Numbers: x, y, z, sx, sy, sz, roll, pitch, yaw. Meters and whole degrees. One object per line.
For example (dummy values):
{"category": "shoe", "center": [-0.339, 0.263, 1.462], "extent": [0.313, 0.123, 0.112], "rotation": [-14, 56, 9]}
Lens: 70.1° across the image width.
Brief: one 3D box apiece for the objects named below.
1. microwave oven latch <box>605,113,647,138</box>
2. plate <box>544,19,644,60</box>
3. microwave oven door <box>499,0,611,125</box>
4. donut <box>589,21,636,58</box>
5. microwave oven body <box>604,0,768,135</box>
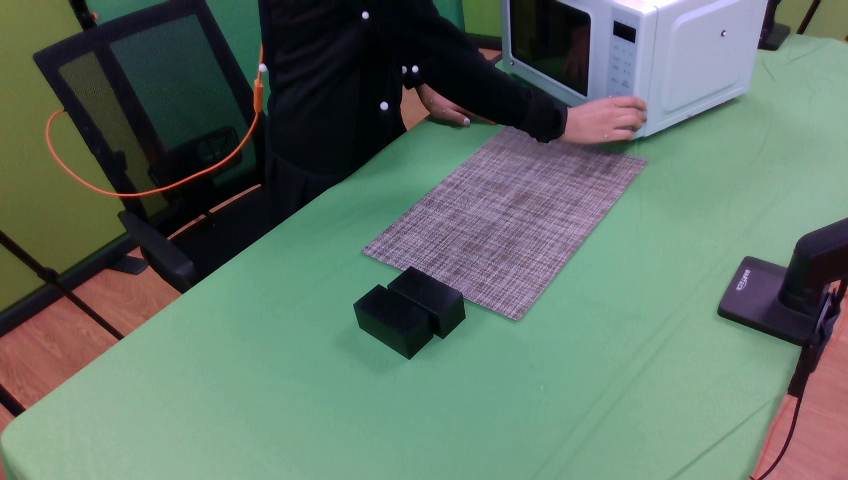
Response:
{"category": "microwave oven latch", "center": [0.375, -0.217, 1.130], "extent": [0.030, 0.029, 0.078], "rotation": [-24, 42, -16]}
{"category": "plate", "center": [0.359, -0.427, 1.291], "extent": [0.209, 0.038, 0.208], "rotation": [0, 34, 0]}
{"category": "microwave oven door", "center": [0.262, -0.410, 1.219], "extent": [0.039, 0.245, 0.352], "rotation": [-24, 42, -17]}
{"category": "donut", "center": [0.403, -0.429, 1.295], "extent": [0.099, 0.048, 0.098], "rotation": [1, 54, -1]}
{"category": "microwave oven body", "center": [0.411, -0.441, 1.235], "extent": [0.327, 0.261, 0.437], "rotation": [-25, 42, -16]}
